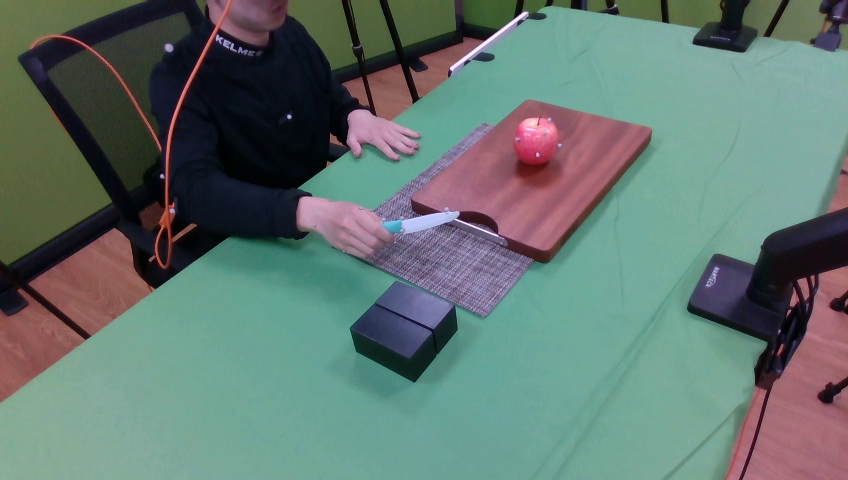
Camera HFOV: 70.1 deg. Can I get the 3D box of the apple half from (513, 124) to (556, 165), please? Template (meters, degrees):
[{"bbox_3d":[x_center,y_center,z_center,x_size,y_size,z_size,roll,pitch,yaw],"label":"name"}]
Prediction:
[{"bbox_3d":[0.185,-0.157,1.041,0.081,0.081,0.033,14,41,23],"label":"apple half"}]

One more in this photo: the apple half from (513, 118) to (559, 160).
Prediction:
[{"bbox_3d":[0.203,-0.180,1.067,0.080,0.075,0.053,12,40,27],"label":"apple half"}]

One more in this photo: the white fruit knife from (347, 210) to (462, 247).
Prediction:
[{"bbox_3d":[-0.034,-0.019,0.870,0.206,0.027,0.016,-12,30,32],"label":"white fruit knife"}]
